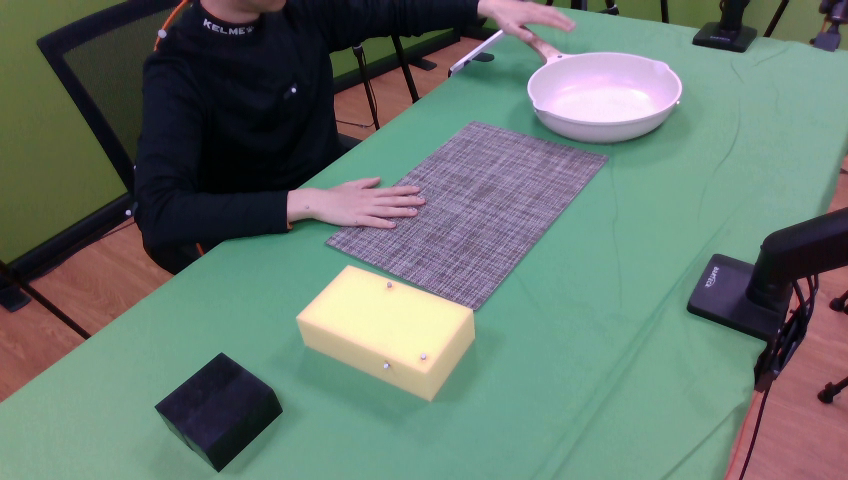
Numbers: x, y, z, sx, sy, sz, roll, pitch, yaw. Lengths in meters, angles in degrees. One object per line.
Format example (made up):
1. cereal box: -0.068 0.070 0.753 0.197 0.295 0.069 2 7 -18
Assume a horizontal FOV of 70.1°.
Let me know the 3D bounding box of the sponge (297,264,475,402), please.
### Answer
1. sponge: -0.050 0.118 0.811 0.205 0.061 0.118 17 47 26

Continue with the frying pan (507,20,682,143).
1. frying pan: 0.312 -0.352 1.271 0.308 0.103 0.483 -20 51 -16
